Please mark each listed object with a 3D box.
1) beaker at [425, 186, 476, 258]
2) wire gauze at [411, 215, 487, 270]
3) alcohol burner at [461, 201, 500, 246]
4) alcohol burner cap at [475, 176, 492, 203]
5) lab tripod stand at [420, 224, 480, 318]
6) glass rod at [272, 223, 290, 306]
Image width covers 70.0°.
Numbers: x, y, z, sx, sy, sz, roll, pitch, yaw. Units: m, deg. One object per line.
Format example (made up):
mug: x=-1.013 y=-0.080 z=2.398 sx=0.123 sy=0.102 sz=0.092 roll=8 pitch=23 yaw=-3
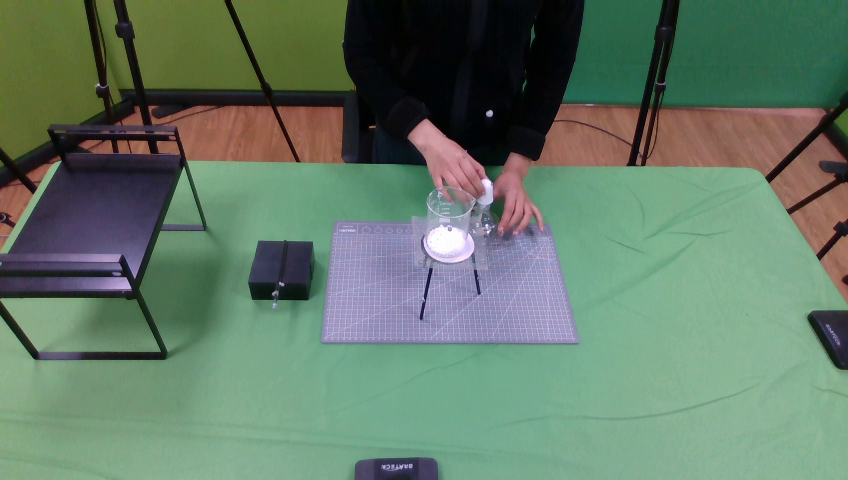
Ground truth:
beaker: x=0.041 y=-0.027 z=0.989 sx=0.084 sy=0.101 sz=0.073 roll=-12 pitch=48 yaw=-15
wire gauze: x=0.041 y=0.003 z=1.026 sx=0.125 sy=0.011 sz=0.120 roll=0 pitch=46 yaw=-1
alcohol burner: x=0.112 y=-0.046 z=1.184 sx=0.078 sy=0.120 sz=0.077 roll=1 pitch=44 yaw=-1
alcohol burner cap: x=0.113 y=-0.097 z=1.130 sx=0.034 sy=0.048 sz=0.033 roll=2 pitch=42 yaw=-2
lab tripod stand: x=0.034 y=0.052 z=1.070 sx=0.148 sy=0.132 sz=0.147 roll=3 pitch=48 yaw=-3
glass rod: x=-0.255 y=0.039 z=1.084 sx=0.008 sy=0.008 sz=0.198 roll=1 pitch=46 yaw=-3
